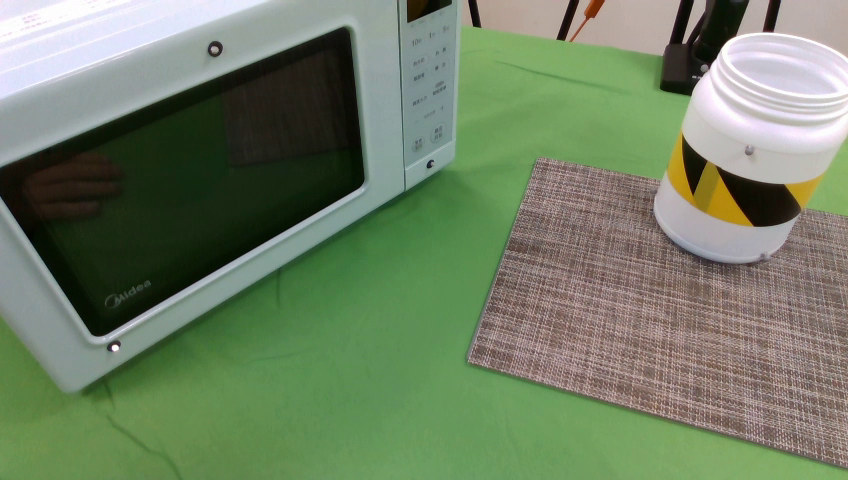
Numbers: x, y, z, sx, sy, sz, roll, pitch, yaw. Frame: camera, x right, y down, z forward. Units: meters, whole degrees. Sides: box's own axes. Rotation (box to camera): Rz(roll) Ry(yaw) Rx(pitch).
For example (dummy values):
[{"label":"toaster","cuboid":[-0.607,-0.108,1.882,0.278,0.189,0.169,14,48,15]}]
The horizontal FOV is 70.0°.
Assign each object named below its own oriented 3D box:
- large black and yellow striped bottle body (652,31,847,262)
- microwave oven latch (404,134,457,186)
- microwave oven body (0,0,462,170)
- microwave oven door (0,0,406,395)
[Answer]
[{"label":"large black and yellow striped bottle body","cuboid":[0.302,-0.084,0.566,0.131,0.185,0.129,0,45,0]},{"label":"microwave oven latch","cuboid":[0.001,-0.091,0.657,0.079,0.030,0.030,-33,55,-28]},{"label":"microwave oven body","cuboid":[-0.230,-0.146,0.575,0.441,0.262,0.323,-35,55,-29]},{"label":"microwave oven door","cuboid":[-0.159,-0.056,0.478,0.356,0.246,0.039,-35,54,-29]}]
